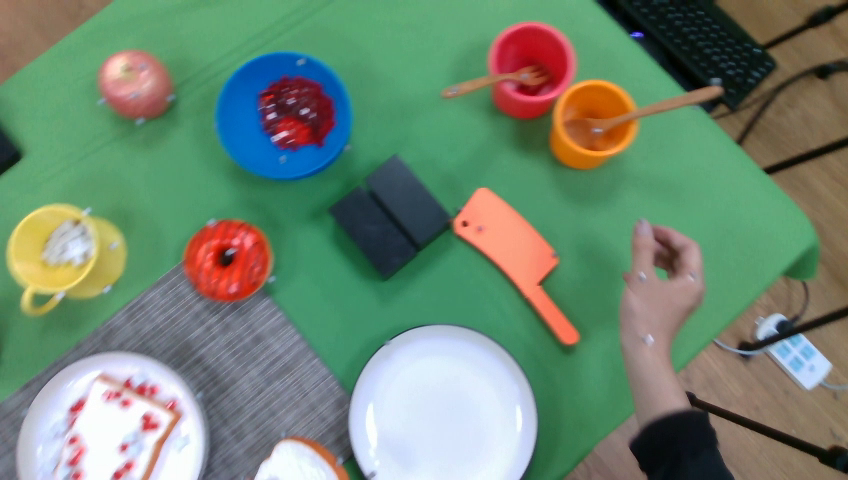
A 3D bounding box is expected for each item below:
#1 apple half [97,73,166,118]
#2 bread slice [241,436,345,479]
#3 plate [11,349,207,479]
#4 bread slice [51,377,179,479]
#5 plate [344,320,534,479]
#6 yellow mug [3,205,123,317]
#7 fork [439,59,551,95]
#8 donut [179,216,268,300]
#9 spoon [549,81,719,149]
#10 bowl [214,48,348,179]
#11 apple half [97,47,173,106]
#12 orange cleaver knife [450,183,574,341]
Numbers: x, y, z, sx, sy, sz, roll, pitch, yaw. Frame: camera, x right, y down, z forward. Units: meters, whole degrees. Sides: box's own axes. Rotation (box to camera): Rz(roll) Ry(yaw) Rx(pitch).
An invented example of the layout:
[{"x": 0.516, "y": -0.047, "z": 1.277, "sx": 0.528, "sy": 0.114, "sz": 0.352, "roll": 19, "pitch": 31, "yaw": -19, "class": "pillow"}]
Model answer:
[{"x": -0.348, "y": -0.161, "z": 0.716, "sx": 0.081, "sy": 0.081, "sz": 0.032, "roll": 16, "pitch": 76, "yaw": 3, "class": "apple half"}, {"x": -0.144, "y": 0.266, "z": 0.602, "sx": 0.106, "sy": 0.018, "sz": 0.134, "roll": 33, "pitch": 72, "yaw": 25, "class": "bread slice"}, {"x": -0.340, "y": 0.225, "z": 0.667, "sx": 0.208, "sy": 0.039, "sz": 0.207, "roll": 0, "pitch": 81, "yaw": 0, "class": "plate"}, {"x": -0.346, "y": 0.232, "z": 0.666, "sx": 0.105, "sy": 0.019, "sz": 0.131, "roll": 22, "pitch": 82, "yaw": 4, "class": "bread slice"}, {"x": 0.017, "y": 0.194, "z": 0.675, "sx": 0.209, "sy": 0.038, "sz": 0.208, "roll": 0, "pitch": 81, "yaw": 1, "class": "plate"}, {"x": -0.416, "y": 0.029, "z": 0.690, "sx": 0.100, "sy": 0.064, "sz": 0.130, "roll": 26, "pitch": 82, "yaw": 4, "class": "yellow mug"}, {"x": 0.084, "y": -0.184, "z": 0.684, "sx": 0.207, "sy": 0.018, "sz": 0.028, "roll": -25, "pitch": 78, "yaw": -46, "class": "fork"}, {"x": -0.230, "y": 0.021, "z": 0.698, "sx": 0.099, "sy": 0.048, "sz": 0.098, "roll": 0, "pitch": 81, "yaw": -1, "class": "donut"}, {"x": 0.226, "y": -0.141, "z": 0.675, "sx": 0.022, "sy": 0.193, "sz": 0.041, "roll": 8, "pitch": 76, "yaw": -44, "class": "spoon"}, {"x": -0.159, "y": -0.136, "z": 0.711, "sx": 0.151, "sy": 0.077, "sz": 0.151, "roll": 0, "pitch": 81, "yaw": 0, "class": "bowl"}, {"x": -0.338, "y": -0.198, "z": 0.724, "sx": 0.080, "sy": 0.075, "sz": 0.053, "roll": 16, "pitch": 75, "yaw": 7, "class": "apple half"}, {"x": 0.115, "y": 0.023, "z": 0.714, "sx": 0.077, "sy": 0.012, "sz": 0.210, "roll": -39, "pitch": 81, "yaw": -12, "class": "orange cleaver knife"}]
